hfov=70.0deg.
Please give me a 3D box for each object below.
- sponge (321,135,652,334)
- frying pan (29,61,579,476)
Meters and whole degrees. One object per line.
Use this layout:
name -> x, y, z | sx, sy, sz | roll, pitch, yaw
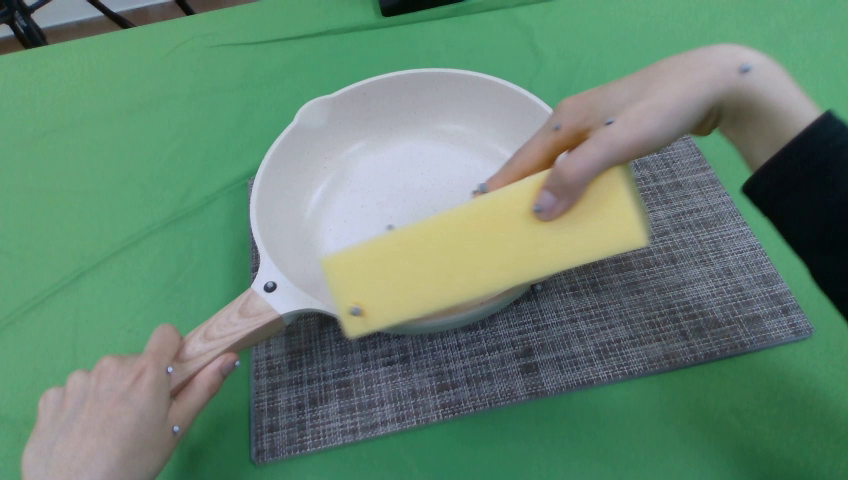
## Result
sponge -> 0.049, -0.006, 0.427 | 0.206, 0.118, 0.061 | -21, 92, 21
frying pan -> -0.082, 0.011, 0.503 | 0.487, 0.103, 0.304 | -37, 57, -27
